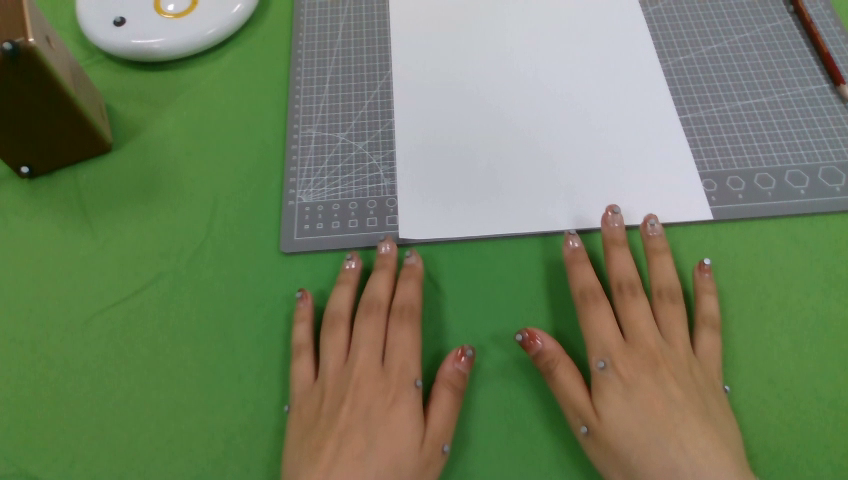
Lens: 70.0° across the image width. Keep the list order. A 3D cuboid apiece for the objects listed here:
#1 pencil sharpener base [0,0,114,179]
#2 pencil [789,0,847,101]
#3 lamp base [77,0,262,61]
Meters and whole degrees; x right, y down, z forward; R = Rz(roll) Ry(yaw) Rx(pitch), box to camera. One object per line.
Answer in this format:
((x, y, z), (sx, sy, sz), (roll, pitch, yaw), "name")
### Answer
((-0.280, -0.103, 0.422), (0.077, 0.108, 0.061), (-22, 61, -9), "pencil sharpener base")
((0.310, -0.181, 0.493), (0.012, 0.012, 0.192), (-5, 61, 0), "pencil")
((-0.231, -0.264, 0.470), (0.160, 0.182, 0.177), (-32, 61, -15), "lamp base")
